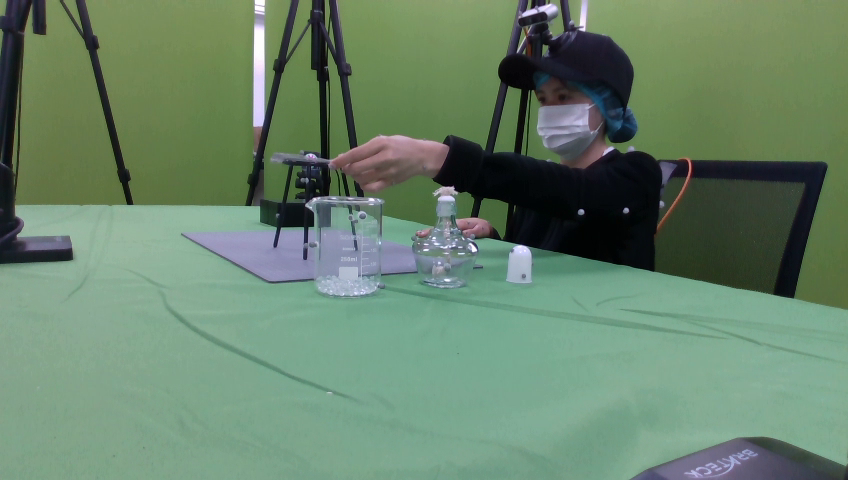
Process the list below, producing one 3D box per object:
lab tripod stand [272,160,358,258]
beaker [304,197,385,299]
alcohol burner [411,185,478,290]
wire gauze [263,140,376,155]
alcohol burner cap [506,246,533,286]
[{"bbox_3d":[-0.159,-0.048,0.876,0.148,0.131,0.148,3,5,0],"label":"lab tripod stand"},{"bbox_3d":[-0.083,0.007,0.628,0.084,0.100,0.073,-1,7,-21],"label":"beaker"},{"bbox_3d":[0.024,-0.004,0.697,0.078,0.119,0.078,0,7,0],"label":"alcohol burner"},{"bbox_3d":[-0.151,-0.130,0.869,0.122,0.011,0.124,-8,4,-35],"label":"wire gauze"},{"bbox_3d":[0.118,0.032,0.739,0.034,0.048,0.034,1,7,0],"label":"alcohol burner cap"}]
